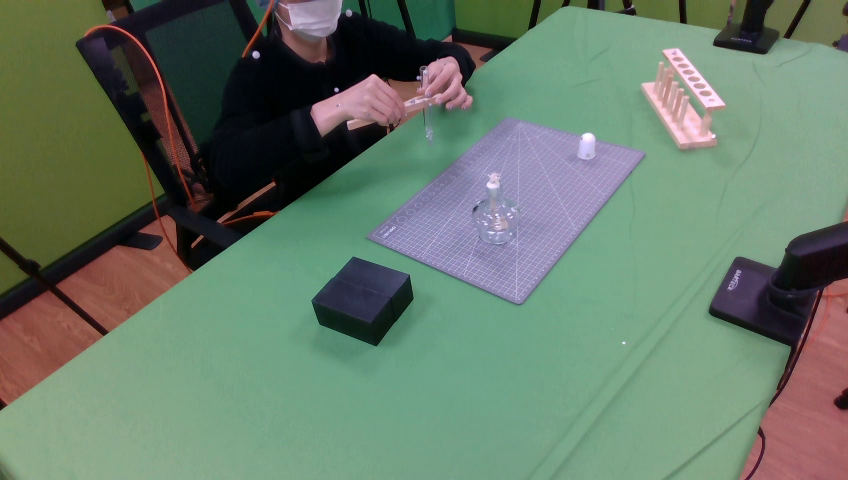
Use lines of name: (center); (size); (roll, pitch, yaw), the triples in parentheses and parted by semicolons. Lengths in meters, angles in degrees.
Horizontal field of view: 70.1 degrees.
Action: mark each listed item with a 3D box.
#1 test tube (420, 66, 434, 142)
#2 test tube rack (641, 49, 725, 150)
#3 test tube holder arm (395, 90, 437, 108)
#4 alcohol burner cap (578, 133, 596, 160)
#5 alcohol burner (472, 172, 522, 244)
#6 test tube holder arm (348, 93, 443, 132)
test tube: (0.006, -0.238, 1.072); (0.017, 0.151, 0.017); (-3, 45, 3)
test tube rack: (0.495, -0.279, 1.175); (0.067, 0.085, 0.241); (-5, 41, 3)
test tube holder arm: (-0.013, -0.241, 1.057); (0.088, 0.015, 0.010); (-30, 42, -27)
alcohol burner cap: (0.301, -0.174, 1.111); (0.034, 0.048, 0.033); (-5, 41, 4)
alcohol burner: (0.112, -0.053, 0.942); (0.078, 0.119, 0.077); (-6, 40, 5)
test tube holder arm: (-0.048, -0.220, 1.037); (0.179, 0.015, 0.013); (-24, 39, -19)
